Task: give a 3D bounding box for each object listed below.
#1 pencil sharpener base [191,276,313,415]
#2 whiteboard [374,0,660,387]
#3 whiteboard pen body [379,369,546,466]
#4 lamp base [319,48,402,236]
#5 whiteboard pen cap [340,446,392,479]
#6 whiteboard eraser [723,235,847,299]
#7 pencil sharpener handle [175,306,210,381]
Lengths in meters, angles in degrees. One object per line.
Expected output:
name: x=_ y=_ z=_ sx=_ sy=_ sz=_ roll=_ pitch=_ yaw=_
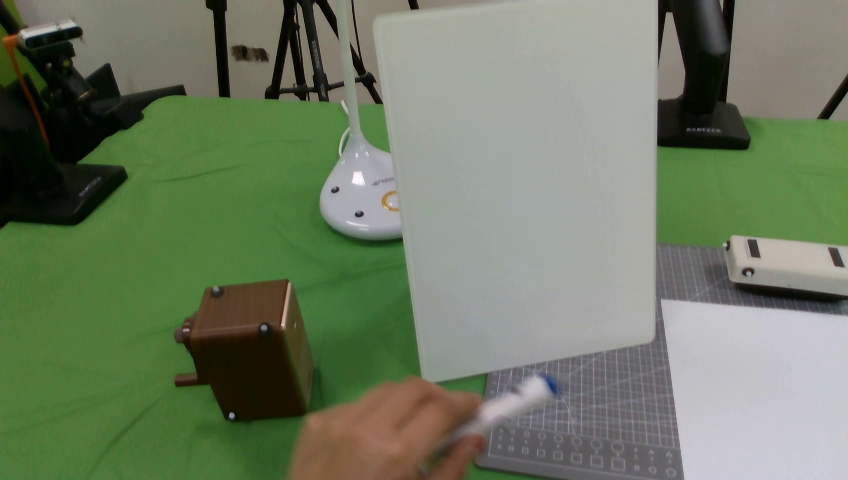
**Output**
pencil sharpener base: x=-0.141 y=0.089 z=0.503 sx=0.077 sy=0.108 sz=0.060 roll=-5 pitch=39 yaw=-1
whiteboard: x=0.079 y=-0.053 z=0.553 sx=0.217 sy=0.307 sz=0.143 roll=-9 pitch=19 yaw=-5
whiteboard pen body: x=0.015 y=0.121 z=0.398 sx=0.141 sy=0.017 sz=0.017 roll=-28 pitch=40 yaw=3
lamp base: x=-0.061 y=-0.122 z=0.707 sx=0.161 sy=0.182 sz=0.177 roll=-27 pitch=41 yaw=-26
whiteboard pen cap: x=-0.038 y=0.150 z=0.401 sx=0.033 sy=0.018 sz=0.018 roll=-27 pitch=39 yaw=3
whiteboard eraser: x=0.356 y=0.027 z=0.591 sx=0.112 sy=0.042 sz=0.055 roll=7 pitch=41 yaw=14
pencil sharpener handle: x=-0.192 y=0.086 z=0.491 sx=0.030 sy=0.068 sz=0.035 roll=-5 pitch=26 yaw=-1
